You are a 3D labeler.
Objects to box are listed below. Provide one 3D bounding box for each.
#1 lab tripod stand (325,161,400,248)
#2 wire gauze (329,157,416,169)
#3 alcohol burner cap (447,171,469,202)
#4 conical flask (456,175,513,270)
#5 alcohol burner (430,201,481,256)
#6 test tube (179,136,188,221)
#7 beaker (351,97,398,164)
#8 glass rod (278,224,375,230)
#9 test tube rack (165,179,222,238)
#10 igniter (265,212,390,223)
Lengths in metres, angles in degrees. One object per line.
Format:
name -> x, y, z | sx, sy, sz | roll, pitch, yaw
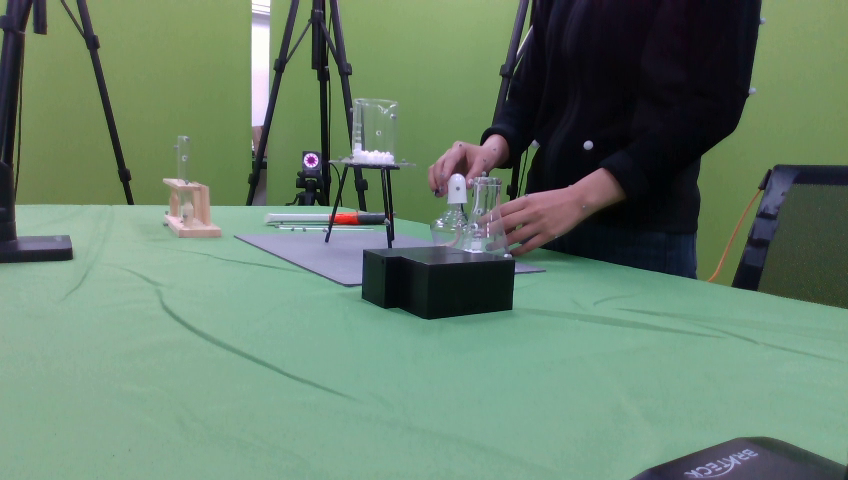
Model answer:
lab tripod stand -> -0.083, -0.059, 0.977 | 0.148, 0.131, 0.148 | 4, 8, 0
wire gauze -> -0.079, -0.125, 0.972 | 0.121, 0.011, 0.125 | 6, 6, 5
alcohol burner cap -> 0.050, -0.080, 0.908 | 0.034, 0.048, 0.034 | -3, 4, 1
conical flask -> 0.083, -0.025, 0.801 | 0.075, 0.122, 0.075 | 2, 7, 0
alcohol burner -> 0.049, -0.036, 0.913 | 0.078, 0.119, 0.078 | 4, 9, 0
test tube -> -0.425, -0.108, 1.070 | 0.017, 0.150, 0.017 | 4, 9, 0
beaker -> -0.078, -0.172, 0.962 | 0.074, 0.100, 0.084 | 6, 8, 18
glass rod -> -0.186, -0.024, 1.178 | 0.201, 0.008, 0.008 | 1, 6, -31
test tube rack -> -0.423, -0.062, 1.098 | 0.067, 0.085, 0.241 | -2, 9, -28
igniter -> -0.196, -0.048, 1.286 | 0.278, 0.025, 0.057 | -2, -2, -30
